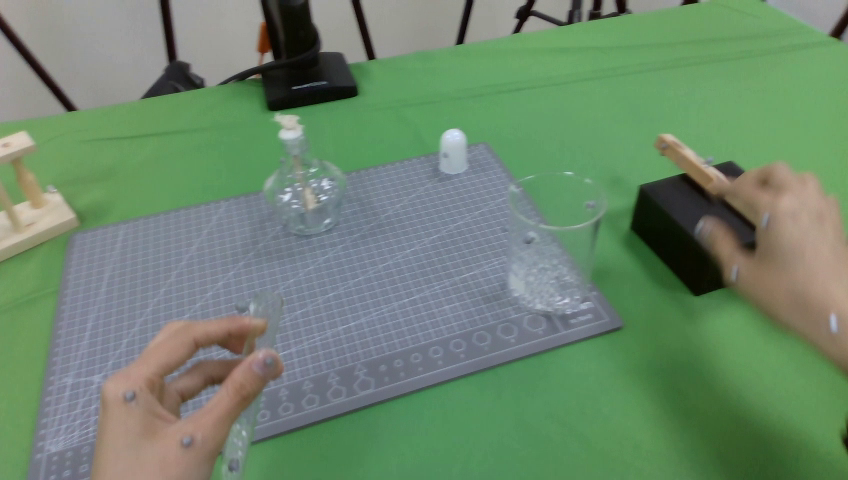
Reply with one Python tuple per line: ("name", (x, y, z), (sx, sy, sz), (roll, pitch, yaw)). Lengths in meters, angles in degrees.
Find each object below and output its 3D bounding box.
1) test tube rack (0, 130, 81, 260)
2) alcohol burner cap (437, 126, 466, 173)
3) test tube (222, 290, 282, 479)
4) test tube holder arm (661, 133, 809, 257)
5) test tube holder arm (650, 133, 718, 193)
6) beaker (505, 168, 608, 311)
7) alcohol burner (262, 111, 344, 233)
("test tube rack", (-0.465, -0.007, 0.553), (0.242, 0.086, 0.066), (-32, 49, -29))
("alcohol burner cap", (0.029, -0.100, 0.655), (0.034, 0.048, 0.033), (-2, 42, 2))
("test tube", (-0.100, 0.089, 0.345), (0.017, 0.151, 0.017), (14, 32, -9))
("test tube holder arm", (0.262, -0.046, 0.529), (0.013, 0.015, 0.176), (-11, 42, -21))
("test tube holder arm", (0.240, -0.072, 0.558), (0.010, 0.015, 0.087), (-10, 42, -20))
("beaker", (0.101, 0.002, 0.494), (0.083, 0.101, 0.074), (30, 52, 33))
("alcohol burner", (-0.117, -0.066, 0.572), (0.078, 0.120, 0.077), (-3, 41, 3))
